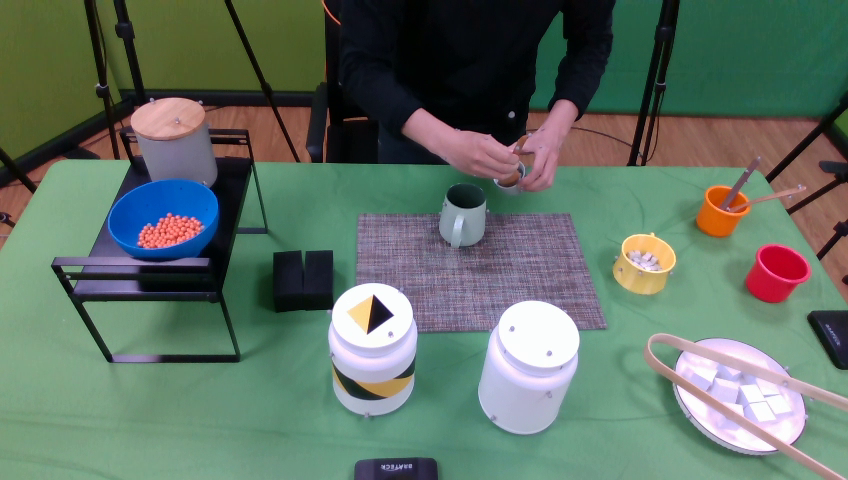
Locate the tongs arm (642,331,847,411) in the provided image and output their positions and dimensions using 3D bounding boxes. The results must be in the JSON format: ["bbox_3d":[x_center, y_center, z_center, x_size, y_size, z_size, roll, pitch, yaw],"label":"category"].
[{"bbox_3d":[0.546,0.227,0.968,0.384,0.026,0.050,22,52,13],"label":"tongs arm"}]

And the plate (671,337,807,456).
[{"bbox_3d":[0.503,0.254,0.984,0.208,0.039,0.206,2,46,-2],"label":"plate"}]

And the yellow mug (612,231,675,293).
[{"bbox_3d":[0.424,0.033,1.168,0.100,0.064,0.130,18,46,13],"label":"yellow mug"}]

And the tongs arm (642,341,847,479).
[{"bbox_3d":[0.504,0.278,0.918,0.386,0.028,0.028,34,59,22],"label":"tongs arm"}]

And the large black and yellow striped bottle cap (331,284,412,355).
[{"bbox_3d":[-0.073,0.111,0.858,0.115,0.019,0.114,2,46,-2],"label":"large black and yellow striped bottle cap"}]

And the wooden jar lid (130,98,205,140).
[{"bbox_3d":[-0.393,-0.183,0.934,0.108,0.021,0.107,2,44,-2],"label":"wooden jar lid"}]

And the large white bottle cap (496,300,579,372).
[{"bbox_3d":[0.160,0.133,0.852,0.115,0.018,0.114,3,46,-3],"label":"large white bottle cap"}]

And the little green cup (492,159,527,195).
[{"bbox_3d":[0.162,-0.115,1.127,0.061,0.039,0.061,-15,53,21],"label":"little green cup"}]

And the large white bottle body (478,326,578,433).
[{"bbox_3d":[0.156,0.192,0.913,0.131,0.185,0.130,2,46,-2],"label":"large white bottle body"}]

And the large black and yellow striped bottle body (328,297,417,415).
[{"bbox_3d":[-0.078,0.167,0.920,0.131,0.185,0.130,2,46,-2],"label":"large black and yellow striped bottle body"}]

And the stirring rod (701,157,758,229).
[{"bbox_3d":[0.634,-0.096,1.257,0.014,0.006,0.176,38,97,30],"label":"stirring rod"}]

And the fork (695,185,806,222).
[{"bbox_3d":[0.658,-0.074,1.230,0.207,0.019,0.028,-23,36,37],"label":"fork"}]

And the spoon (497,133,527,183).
[{"bbox_3d":[0.153,-0.138,1.039,0.041,0.194,0.021,-13,71,-4],"label":"spoon"}]

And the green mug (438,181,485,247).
[{"bbox_3d":[0.071,-0.039,1.178,0.092,0.105,0.124,12,47,7],"label":"green mug"}]

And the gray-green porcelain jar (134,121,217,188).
[{"bbox_3d":[-0.397,-0.141,0.980,0.106,0.127,0.105,2,47,-2],"label":"gray-green porcelain jar"}]

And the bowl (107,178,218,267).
[{"bbox_3d":[-0.374,-0.014,0.893,0.151,0.077,0.150,2,46,-2],"label":"bowl"}]
